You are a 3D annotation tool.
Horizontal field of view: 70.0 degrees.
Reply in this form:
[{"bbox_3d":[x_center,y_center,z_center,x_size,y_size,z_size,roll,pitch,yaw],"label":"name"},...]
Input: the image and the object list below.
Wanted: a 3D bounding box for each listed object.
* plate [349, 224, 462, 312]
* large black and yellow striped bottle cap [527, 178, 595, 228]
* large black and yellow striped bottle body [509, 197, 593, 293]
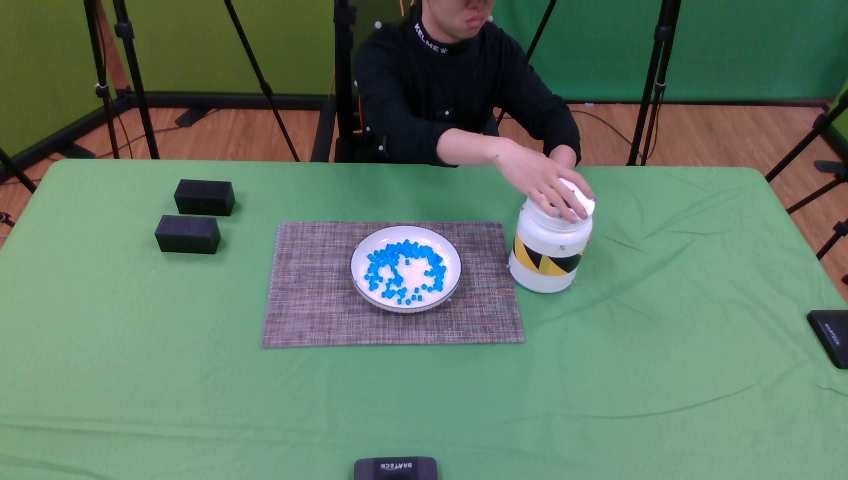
[{"bbox_3d":[-0.035,0.054,1.126,0.208,0.039,0.206,2,46,-2],"label":"plate"},{"bbox_3d":[0.236,-0.065,1.044,0.115,0.019,0.114,2,45,-2],"label":"large black and yellow striped bottle cap"},{"bbox_3d":[0.231,-0.006,1.107,0.131,0.185,0.130,2,46,-2],"label":"large black and yellow striped bottle body"}]
